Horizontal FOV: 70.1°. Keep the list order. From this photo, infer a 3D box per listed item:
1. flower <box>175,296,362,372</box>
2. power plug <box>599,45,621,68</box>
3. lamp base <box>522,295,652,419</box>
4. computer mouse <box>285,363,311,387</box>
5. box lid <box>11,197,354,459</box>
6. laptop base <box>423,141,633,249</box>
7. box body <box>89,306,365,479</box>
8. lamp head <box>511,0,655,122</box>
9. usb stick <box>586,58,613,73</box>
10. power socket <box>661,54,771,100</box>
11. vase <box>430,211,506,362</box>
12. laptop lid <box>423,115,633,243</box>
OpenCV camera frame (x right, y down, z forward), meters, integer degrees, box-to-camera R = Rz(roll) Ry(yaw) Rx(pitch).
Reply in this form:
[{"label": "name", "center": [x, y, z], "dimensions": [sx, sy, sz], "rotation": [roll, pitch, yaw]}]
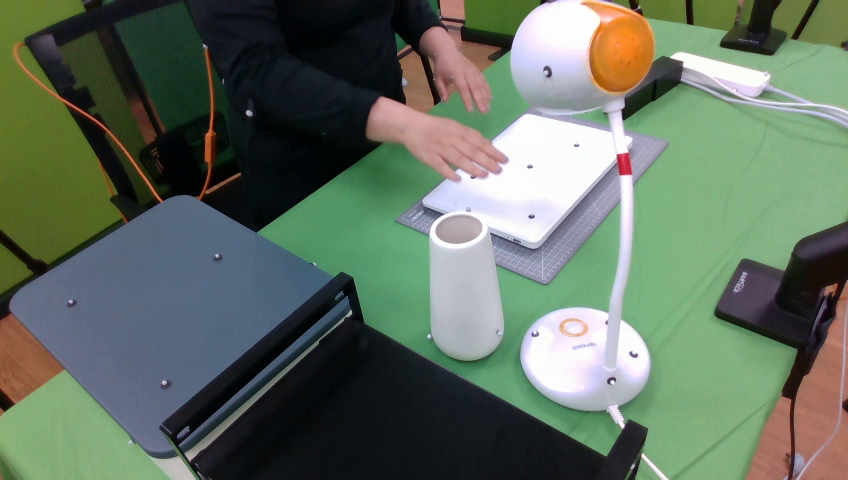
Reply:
[{"label": "flower", "center": [-0.233, 0.115, 0.832], "dimensions": [0.359, 0.038, 0.044], "rotation": [10, 87, 33]}, {"label": "power plug", "center": [0.437, -0.422, 1.413], "dimensions": [0.053, 0.035, 0.072], "rotation": [-18, 75, -47]}, {"label": "lamp base", "center": [0.201, 0.095, 0.710], "dimensions": [0.161, 0.181, 0.177], "rotation": [-16, 43, -10]}, {"label": "computer mouse", "center": [-0.161, 0.158, 0.791], "dimensions": [0.116, 0.041, 0.063], "rotation": [26, 45, 23]}, {"label": "box lid", "center": [-0.288, 0.072, 0.710], "dimensions": [0.368, 0.015, 0.264], "rotation": [25, 50, 32]}, {"label": "laptop base", "center": [0.194, -0.117, 1.087], "dimensions": [0.233, 0.023, 0.355], "rotation": [21, 48, 34]}, {"label": "box body", "center": [-0.282, 0.128, 0.759], "dimensions": [0.361, 0.161, 0.255], "rotation": [24, 49, 32]}, {"label": "lamp head", "center": [0.155, -0.168, 0.564], "dimensions": [0.113, 0.113, 0.122], "rotation": [-18, 23, -12]}, {"label": "usb stick", "center": [0.401, -0.399, 1.381], "dimensions": [0.059, 0.027, 0.021], "rotation": [0, 47, 21]}, {"label": "power socket", "center": [0.615, -0.349, 1.285], "dimensions": [0.072, 0.033, 0.225], "rotation": [-36, 48, -28]}, {"label": "vase", "center": [0.054, 0.062, 0.757], "dimensions": [0.098, 0.201, 0.097], "rotation": [-3, 40, 3]}, {"label": "laptop lid", "center": [0.190, -0.126, 1.081], "dimensions": [0.239, 0.013, 0.358], "rotation": [23, 48, 34]}]
